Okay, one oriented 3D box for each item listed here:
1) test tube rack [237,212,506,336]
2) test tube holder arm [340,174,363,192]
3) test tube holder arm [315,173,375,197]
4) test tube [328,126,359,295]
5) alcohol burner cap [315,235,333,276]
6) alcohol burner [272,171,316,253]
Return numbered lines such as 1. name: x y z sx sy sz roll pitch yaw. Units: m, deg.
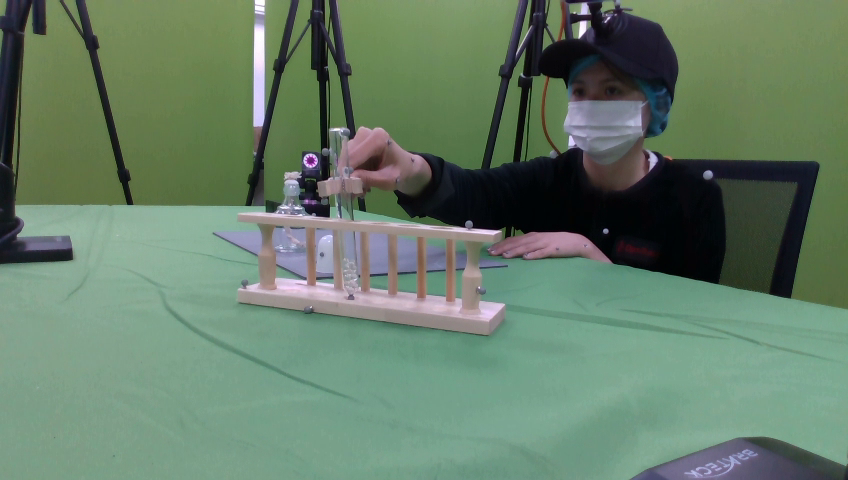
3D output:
1. test tube rack: -0.049 0.024 0.552 0.242 0.085 0.067 5 8 19
2. test tube holder arm: -0.070 -0.053 0.565 0.010 0.015 0.087 -12 8 -14
3. test tube holder arm: -0.075 -0.058 0.608 0.013 0.015 0.178 -7 7 9
4. test tube: -0.071 -0.025 0.534 0.017 0.150 0.017 -3 10 1
5. alcohol burner cap: -0.116 0.018 0.728 0.034 0.048 0.034 3 6 0
6. alcohol burner: -0.196 -0.041 0.884 0.078 0.119 0.078 3 5 0
